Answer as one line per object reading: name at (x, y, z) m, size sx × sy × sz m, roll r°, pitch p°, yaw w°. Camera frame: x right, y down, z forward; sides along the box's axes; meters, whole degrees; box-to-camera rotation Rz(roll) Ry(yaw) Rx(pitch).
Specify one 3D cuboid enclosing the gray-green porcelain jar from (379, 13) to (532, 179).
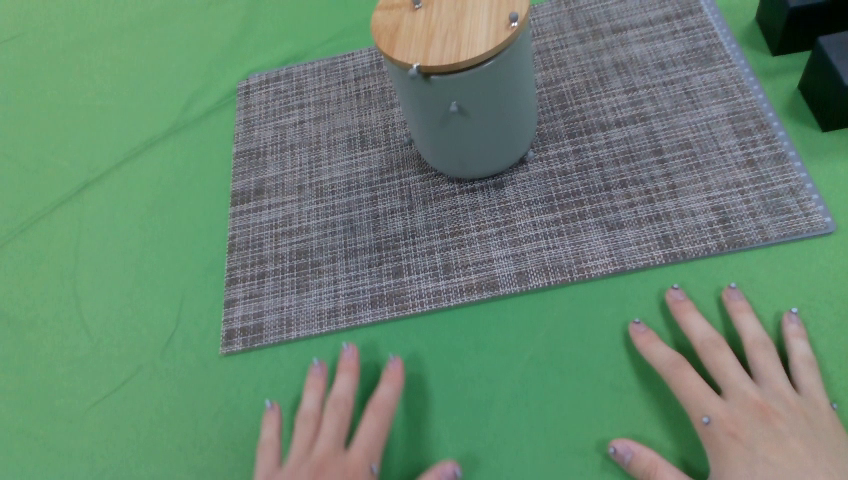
gray-green porcelain jar at (0.029, -0.117, 0.467) m, size 0.105 × 0.128 × 0.105 m, roll -6°, pitch 58°, yaw 11°

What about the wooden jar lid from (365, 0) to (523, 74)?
wooden jar lid at (0.014, -0.148, 0.413) m, size 0.108 × 0.021 × 0.107 m, roll -6°, pitch 58°, yaw 10°
